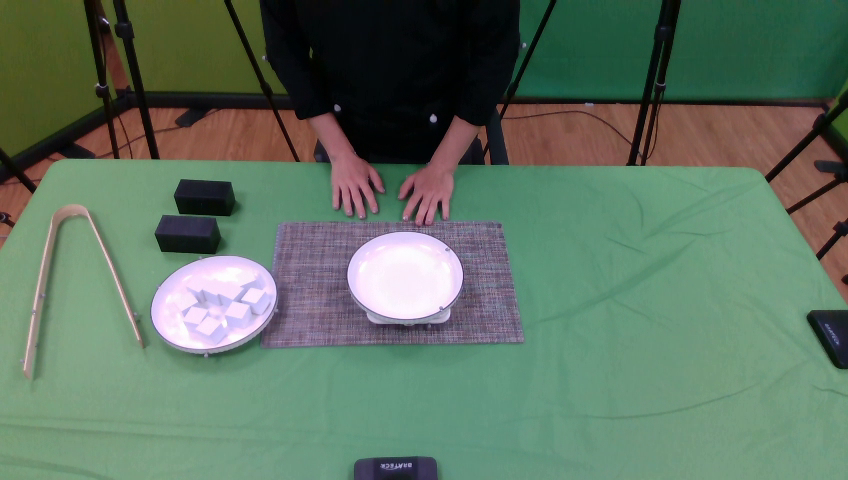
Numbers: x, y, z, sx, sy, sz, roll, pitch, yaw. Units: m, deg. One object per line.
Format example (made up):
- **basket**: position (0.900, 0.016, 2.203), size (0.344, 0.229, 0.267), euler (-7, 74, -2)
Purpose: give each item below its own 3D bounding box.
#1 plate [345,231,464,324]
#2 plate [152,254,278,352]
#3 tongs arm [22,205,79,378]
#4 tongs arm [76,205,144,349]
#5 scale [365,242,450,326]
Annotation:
- **plate**: position (-0.034, 0.069, 1.069), size (0.209, 0.038, 0.208), euler (2, 46, -2)
- **plate**: position (-0.357, 0.111, 1.052), size (0.208, 0.039, 0.206), euler (2, 46, -2)
- **tongs arm**: position (-0.652, 0.074, 1.067), size (0.051, 0.026, 0.382), euler (-10, 46, -15)
- **tongs arm**: position (-0.570, 0.054, 1.098), size (0.028, 0.028, 0.385), euler (-25, 52, -23)
- **scale**: position (-0.032, 0.071, 1.113), size (0.149, 0.032, 0.199), euler (0, 46, -4)
